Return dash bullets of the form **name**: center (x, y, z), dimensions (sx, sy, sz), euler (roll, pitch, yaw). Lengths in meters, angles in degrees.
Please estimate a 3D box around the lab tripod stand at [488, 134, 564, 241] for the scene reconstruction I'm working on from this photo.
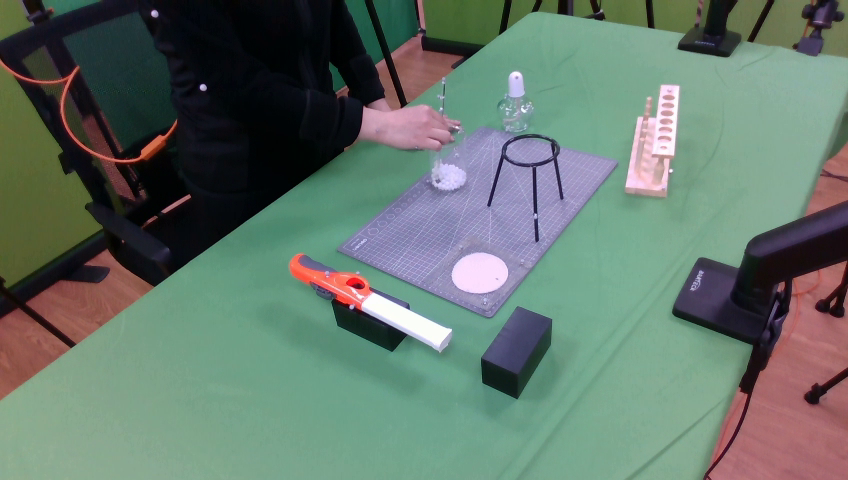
- **lab tripod stand**: center (0.168, -0.092, 0.972), dimensions (0.148, 0.132, 0.147), euler (-5, 41, 5)

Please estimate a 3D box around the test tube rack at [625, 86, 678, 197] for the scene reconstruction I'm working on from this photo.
- **test tube rack**: center (0.412, -0.184, 1.088), dimensions (0.066, 0.085, 0.242), euler (9, 43, 18)

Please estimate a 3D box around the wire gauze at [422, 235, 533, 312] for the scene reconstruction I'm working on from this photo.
- **wire gauze**: center (0.081, 0.049, 0.914), dimensions (0.120, 0.011, 0.125), euler (26, 52, 32)

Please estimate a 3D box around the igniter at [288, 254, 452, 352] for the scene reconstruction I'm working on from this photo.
- **igniter**: center (-0.083, 0.079, 0.818), dimensions (0.274, 0.025, 0.057), euler (23, 46, 27)

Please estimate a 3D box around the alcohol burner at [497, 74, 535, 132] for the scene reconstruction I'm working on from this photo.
- **alcohol burner**: center (0.184, -0.278, 1.210), dimensions (0.078, 0.119, 0.077), euler (-3, 42, 3)

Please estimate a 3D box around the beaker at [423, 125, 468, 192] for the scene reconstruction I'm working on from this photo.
- **beaker**: center (0.042, -0.144, 1.078), dimensions (0.073, 0.100, 0.084), euler (28, 51, 34)

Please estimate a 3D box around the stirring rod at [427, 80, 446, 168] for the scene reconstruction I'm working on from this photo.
- **stirring rod**: center (0.020, -0.194, 1.037), dimensions (0.006, 0.176, 0.014), euler (17, 45, 7)

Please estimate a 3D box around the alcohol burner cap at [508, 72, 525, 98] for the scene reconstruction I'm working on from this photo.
- **alcohol burner cap**: center (0.181, -0.306, 1.186), dimensions (0.034, 0.048, 0.033), euler (-7, 39, 6)
